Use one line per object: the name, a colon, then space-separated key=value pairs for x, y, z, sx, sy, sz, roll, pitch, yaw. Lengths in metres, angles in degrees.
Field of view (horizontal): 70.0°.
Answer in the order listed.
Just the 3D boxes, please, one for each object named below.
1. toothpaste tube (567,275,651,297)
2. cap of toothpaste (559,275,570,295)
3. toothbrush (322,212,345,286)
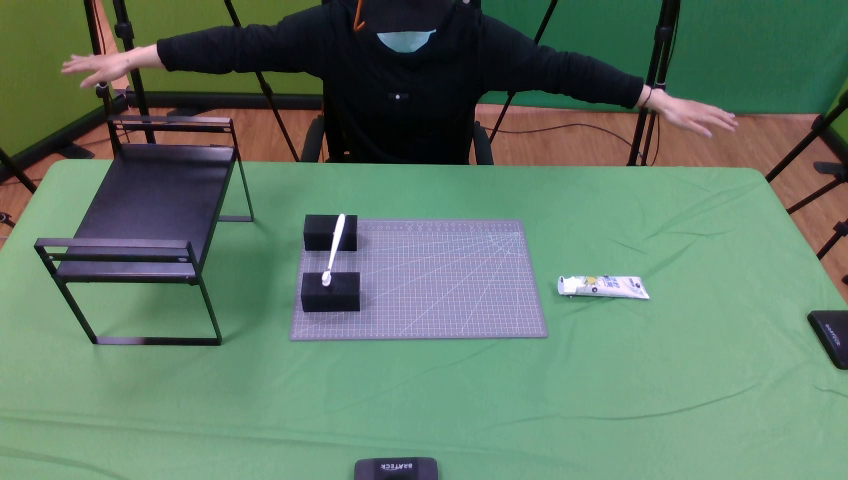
toothpaste tube: x=0.339 y=0.085 z=1.132 sx=0.165 sy=0.035 sz=0.054 roll=0 pitch=49 yaw=-9
cap of toothpaste: x=0.261 y=0.083 z=1.120 sx=0.011 sy=0.037 sz=0.037 roll=0 pitch=47 yaw=-9
toothbrush: x=-0.164 y=0.011 z=1.101 sx=0.014 sy=0.017 sz=0.181 roll=-6 pitch=44 yaw=12
